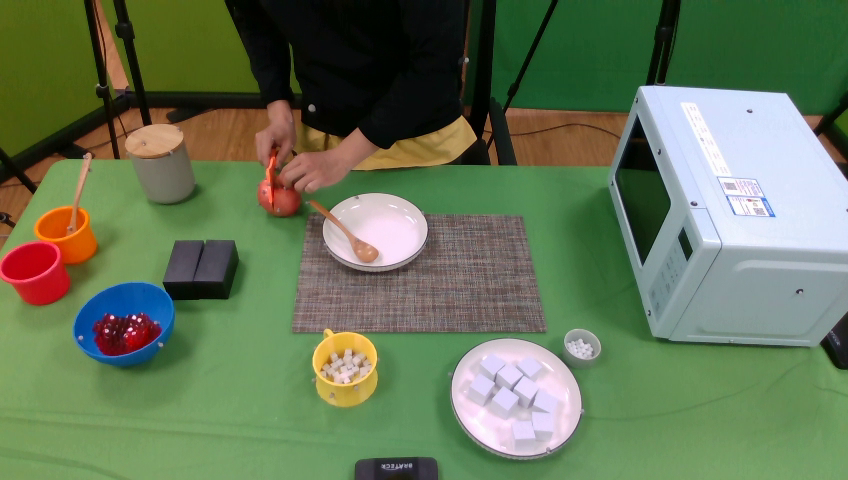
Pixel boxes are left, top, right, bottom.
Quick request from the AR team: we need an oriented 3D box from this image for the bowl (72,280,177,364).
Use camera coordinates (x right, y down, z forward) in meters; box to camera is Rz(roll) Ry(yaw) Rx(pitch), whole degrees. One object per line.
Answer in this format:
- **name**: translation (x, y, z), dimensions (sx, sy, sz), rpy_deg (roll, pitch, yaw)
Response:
- **bowl**: translation (-0.472, 0.147, 0.982), dimensions (0.151, 0.077, 0.150), rpy_deg (2, 46, -2)

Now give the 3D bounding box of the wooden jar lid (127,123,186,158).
- **wooden jar lid**: translation (-0.519, -0.190, 1.179), dimensions (0.108, 0.021, 0.107), rpy_deg (2, 44, -2)

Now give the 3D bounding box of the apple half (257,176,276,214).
- **apple half**: translation (-0.318, -0.088, 1.220), dimensions (0.033, 0.082, 0.080), rpy_deg (-7, 48, -7)

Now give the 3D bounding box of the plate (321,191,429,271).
- **plate**: translation (-0.094, -0.015, 1.185), dimensions (0.209, 0.038, 0.208), rpy_deg (2, 46, -2)

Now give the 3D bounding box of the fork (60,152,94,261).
- **fork**: translation (-0.638, -0.063, 1.119), dimensions (0.028, 0.018, 0.207), rpy_deg (12, 90, 9)

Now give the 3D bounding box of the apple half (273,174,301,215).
- **apple half**: translation (-0.275, -0.090, 1.226), dimensions (0.053, 0.075, 0.080), rpy_deg (0, 43, -10)

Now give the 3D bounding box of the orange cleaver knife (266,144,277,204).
- **orange cleaver knife**: translation (-0.309, -0.138, 1.234), dimensions (0.012, 0.077, 0.210), rpy_deg (-5, 27, -8)

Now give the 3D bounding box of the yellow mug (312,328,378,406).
- **yellow mug**: translation (-0.132, 0.193, 0.971), dimensions (0.100, 0.064, 0.130), rpy_deg (-22, 51, -22)

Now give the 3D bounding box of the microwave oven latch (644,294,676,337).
- **microwave oven latch**: translation (0.411, 0.132, 1.061), dimensions (0.030, 0.029, 0.078), rpy_deg (1, 46, -2)

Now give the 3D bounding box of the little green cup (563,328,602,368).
- **little green cup**: translation (0.266, 0.185, 1.025), dimensions (0.061, 0.039, 0.061), rpy_deg (1, 45, -1)

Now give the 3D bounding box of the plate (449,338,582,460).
- **plate**: translation (0.141, 0.251, 0.956), dimensions (0.208, 0.039, 0.206), rpy_deg (2, 46, -2)

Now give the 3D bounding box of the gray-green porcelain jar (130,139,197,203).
- **gray-green porcelain jar**: translation (-0.522, -0.148, 1.225), dimensions (0.106, 0.127, 0.105), rpy_deg (2, 47, -2)

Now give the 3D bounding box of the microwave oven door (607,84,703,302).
- **microwave oven door**: translation (0.424, -0.096, 1.138), dimensions (0.039, 0.245, 0.353), rpy_deg (3, 46, -1)

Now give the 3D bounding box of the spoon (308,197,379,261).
- **spoon**: translation (-0.158, -0.025, 1.172), dimensions (0.041, 0.022, 0.193), rpy_deg (-40, 72, -20)

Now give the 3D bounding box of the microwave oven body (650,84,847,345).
- **microwave oven body**: translation (0.569, -0.054, 1.116), dimensions (0.326, 0.261, 0.439), rpy_deg (2, 46, -1)
